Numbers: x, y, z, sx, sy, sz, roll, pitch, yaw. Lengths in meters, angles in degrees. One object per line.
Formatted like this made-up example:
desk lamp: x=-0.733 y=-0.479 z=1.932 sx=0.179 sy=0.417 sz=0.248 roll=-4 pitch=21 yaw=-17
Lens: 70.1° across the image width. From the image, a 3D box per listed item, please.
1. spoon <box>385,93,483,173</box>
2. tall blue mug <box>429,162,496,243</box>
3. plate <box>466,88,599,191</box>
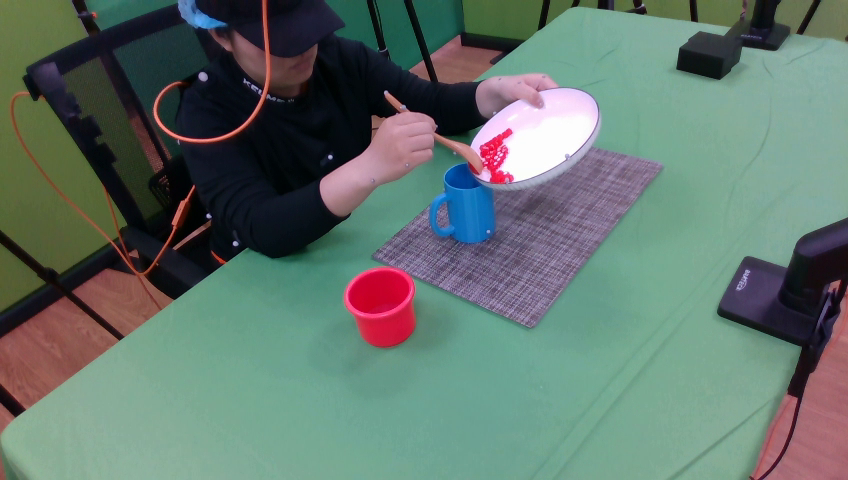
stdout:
spoon: x=0.018 y=-0.154 z=0.879 sx=0.021 sy=0.195 sz=0.041 roll=-43 pitch=32 yaw=32
tall blue mug: x=0.067 y=-0.051 z=0.960 sx=0.077 sy=0.108 sz=0.107 roll=18 pitch=47 yaw=27
plate: x=0.164 y=-0.146 z=0.910 sx=0.207 sy=0.039 sz=0.206 roll=-21 pitch=40 yaw=19
